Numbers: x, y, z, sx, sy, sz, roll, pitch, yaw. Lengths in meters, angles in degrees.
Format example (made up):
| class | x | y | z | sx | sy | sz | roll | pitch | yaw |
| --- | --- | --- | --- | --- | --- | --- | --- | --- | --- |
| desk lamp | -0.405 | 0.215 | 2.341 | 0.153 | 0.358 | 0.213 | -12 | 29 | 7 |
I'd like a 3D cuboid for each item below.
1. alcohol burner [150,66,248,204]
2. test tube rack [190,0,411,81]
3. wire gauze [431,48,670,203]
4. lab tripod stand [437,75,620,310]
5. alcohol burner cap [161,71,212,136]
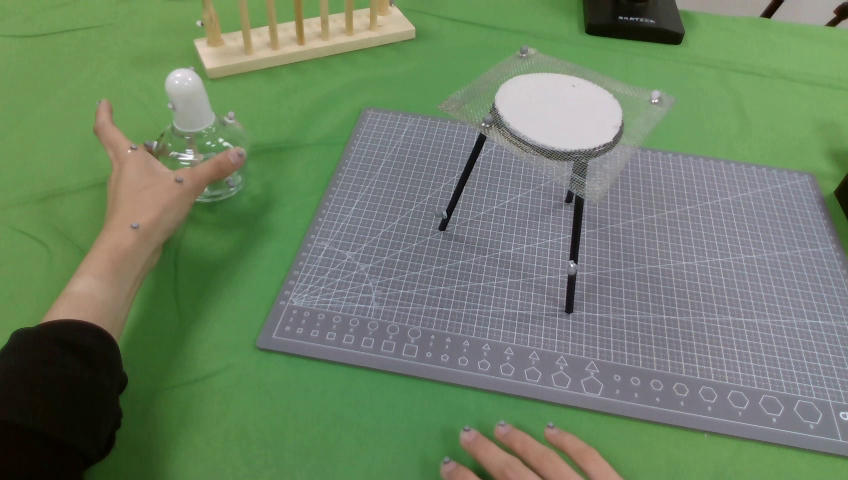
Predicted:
| class | x | y | z | sx | sy | sz | roll | pitch | yaw |
| --- | --- | --- | --- | --- | --- | --- | --- | --- | --- |
| alcohol burner | -0.188 | -0.088 | 0.498 | 0.078 | 0.120 | 0.077 | 1 | 49 | -1 |
| test tube rack | -0.137 | -0.256 | 0.674 | 0.243 | 0.086 | 0.066 | -19 | 52 | -20 |
| wire gauze | 0.087 | -0.088 | 0.407 | 0.124 | 0.011 | 0.121 | 32 | 53 | 21 |
| lab tripod stand | 0.087 | -0.040 | 0.455 | 0.148 | 0.132 | 0.147 | 3 | 48 | -3 |
| alcohol burner cap | -0.189 | -0.110 | 0.475 | 0.034 | 0.048 | 0.033 | 2 | 48 | -2 |
